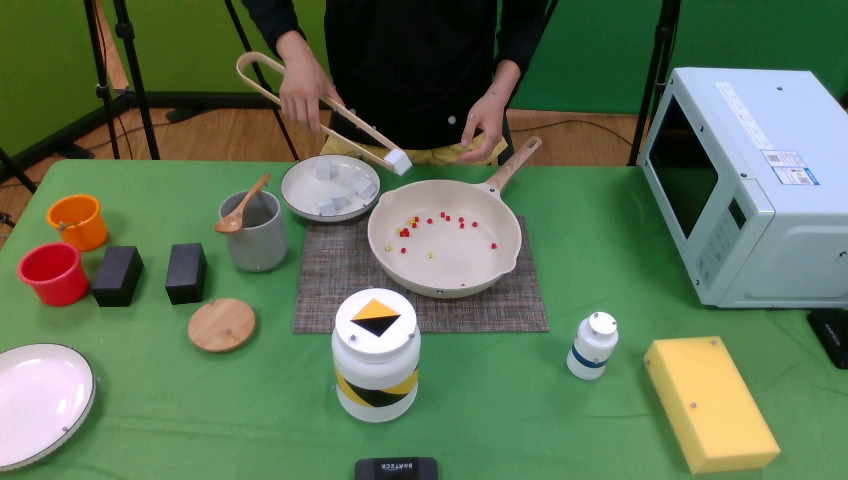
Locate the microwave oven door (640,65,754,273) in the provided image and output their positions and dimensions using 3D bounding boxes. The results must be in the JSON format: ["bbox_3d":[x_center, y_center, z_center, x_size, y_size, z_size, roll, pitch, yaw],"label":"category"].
[{"bbox_3d":[0.523,-0.147,1.193,0.039,0.245,0.353,0,47,-3],"label":"microwave oven door"}]

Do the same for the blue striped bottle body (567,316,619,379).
[{"bbox_3d":[0.276,0.168,0.984,0.063,0.121,0.062,2,46,-2],"label":"blue striped bottle body"}]

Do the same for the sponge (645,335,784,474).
[{"bbox_3d":[0.449,0.253,0.956,0.118,0.061,0.205,-4,46,-7],"label":"sponge"}]

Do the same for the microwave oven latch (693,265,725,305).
[{"bbox_3d":[0.523,0.081,1.116,0.030,0.029,0.078,2,46,-1],"label":"microwave oven latch"}]

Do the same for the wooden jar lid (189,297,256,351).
[{"bbox_3d":[-0.342,0.145,1.033,0.108,0.021,0.107,2,45,-2],"label":"wooden jar lid"}]

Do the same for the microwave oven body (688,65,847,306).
[{"bbox_3d":[0.669,-0.111,1.176,0.326,0.261,0.439,0,46,-3],"label":"microwave oven body"}]

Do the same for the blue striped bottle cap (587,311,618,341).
[{"bbox_3d":[0.279,0.134,0.946,0.044,0.021,0.044,2,45,-2],"label":"blue striped bottle cap"}]

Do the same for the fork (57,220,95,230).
[{"bbox_3d":[-0.624,-0.027,1.086,0.028,0.207,0.018,-2,92,-17],"label":"fork"}]

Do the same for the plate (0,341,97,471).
[{"bbox_3d":[-0.599,0.247,0.904,0.209,0.038,0.208,2,47,-2],"label":"plate"}]

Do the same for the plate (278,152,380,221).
[{"bbox_3d":[-0.197,-0.107,1.269,0.208,0.039,0.206,2,45,-2],"label":"plate"}]

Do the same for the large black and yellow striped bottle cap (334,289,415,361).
[{"bbox_3d":[-0.069,0.117,0.850,0.115,0.019,0.114,2,45,-2],"label":"large black and yellow striped bottle cap"}]

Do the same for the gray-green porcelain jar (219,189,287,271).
[{"bbox_3d":[-0.310,-0.014,1.113,0.106,0.127,0.105,2,46,-2],"label":"gray-green porcelain jar"}]

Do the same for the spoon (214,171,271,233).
[{"bbox_3d":[-0.312,-0.070,1.070,0.041,0.022,0.193,9,43,10],"label":"spoon"}]

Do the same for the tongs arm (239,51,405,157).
[{"bbox_3d":[-0.195,-0.251,1.128,0.383,0.026,0.050,38,78,16],"label":"tongs arm"}]

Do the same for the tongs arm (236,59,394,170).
[{"bbox_3d":[-0.209,-0.233,1.123,0.386,0.028,0.028,34,81,15],"label":"tongs arm"}]

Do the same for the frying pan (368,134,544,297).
[{"bbox_3d":[0.104,-0.069,1.205,0.305,0.103,0.487,32,61,23],"label":"frying pan"}]

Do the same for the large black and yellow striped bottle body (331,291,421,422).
[{"bbox_3d":[-0.071,0.175,0.911,0.131,0.185,0.130,2,47,-2],"label":"large black and yellow striped bottle body"}]
